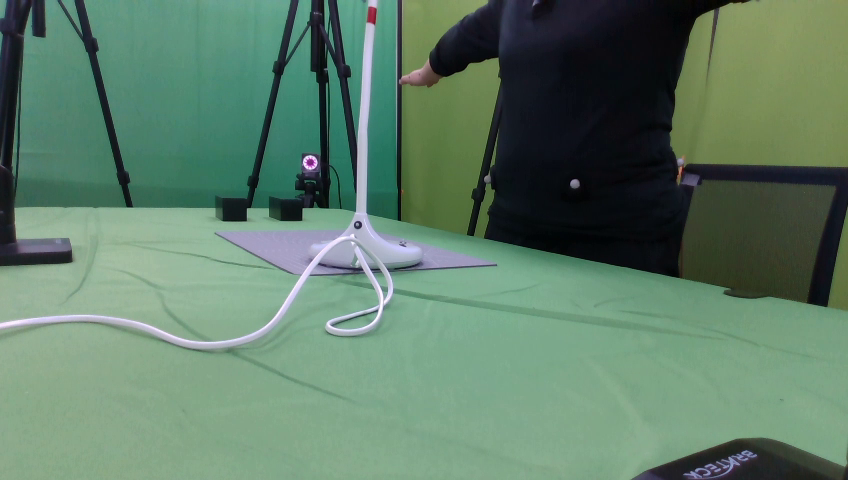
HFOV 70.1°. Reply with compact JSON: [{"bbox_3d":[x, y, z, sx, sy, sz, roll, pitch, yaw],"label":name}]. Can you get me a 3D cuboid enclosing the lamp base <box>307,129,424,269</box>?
[{"bbox_3d":[-0.076,-0.057,0.811,0.161,0.180,0.179,2,10,-4],"label":"lamp base"}]
